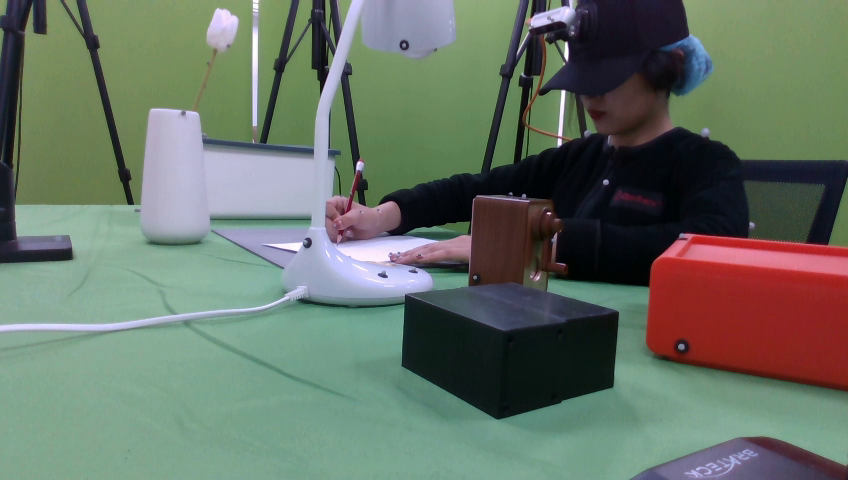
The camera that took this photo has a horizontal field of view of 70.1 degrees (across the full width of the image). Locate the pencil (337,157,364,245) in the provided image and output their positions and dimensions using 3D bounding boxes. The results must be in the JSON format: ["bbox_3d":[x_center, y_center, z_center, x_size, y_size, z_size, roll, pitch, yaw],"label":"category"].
[{"bbox_3d":[-0.122,-0.068,1.004,0.012,0.012,0.194,3,52,8],"label":"pencil"}]

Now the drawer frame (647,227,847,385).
[{"bbox_3d":[0.303,0.043,0.495,0.201,0.082,0.214,6,9,26],"label":"drawer frame"}]

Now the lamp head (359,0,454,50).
[{"bbox_3d":[-0.024,-0.282,0.674,0.112,0.123,0.112,-3,38,3],"label":"lamp head"}]

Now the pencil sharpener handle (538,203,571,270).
[{"bbox_3d":[0.137,-0.003,0.619,0.030,0.067,0.036,8,7,38],"label":"pencil sharpener handle"}]

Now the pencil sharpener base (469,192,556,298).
[{"bbox_3d":[0.097,0.003,0.652,0.076,0.107,0.061,8,9,38],"label":"pencil sharpener base"}]

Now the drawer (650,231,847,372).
[{"bbox_3d":[0.303,0.044,0.499,0.194,0.073,0.212,7,9,27],"label":"drawer"}]

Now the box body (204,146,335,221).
[{"bbox_3d":[-0.411,-0.135,1.386,0.366,0.160,0.253,-2,9,-29],"label":"box body"}]

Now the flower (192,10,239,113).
[{"bbox_3d":[-0.354,-0.174,0.915,0.038,0.361,0.044,18,-4,12],"label":"flower"}]

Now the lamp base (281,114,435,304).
[{"bbox_3d":[-0.071,-0.034,0.614,0.160,0.180,0.180,6,10,27],"label":"lamp base"}]

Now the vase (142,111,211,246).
[{"bbox_3d":[-0.378,-0.093,0.920,0.098,0.200,0.098,2,9,0],"label":"vase"}]

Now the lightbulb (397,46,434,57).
[{"bbox_3d":[-0.017,-0.264,0.692,0.059,0.108,0.059,-9,29,5],"label":"lightbulb"}]

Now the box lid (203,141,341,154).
[{"bbox_3d":[-0.396,-0.212,1.373,0.373,0.015,0.262,-1,9,-29],"label":"box lid"}]
